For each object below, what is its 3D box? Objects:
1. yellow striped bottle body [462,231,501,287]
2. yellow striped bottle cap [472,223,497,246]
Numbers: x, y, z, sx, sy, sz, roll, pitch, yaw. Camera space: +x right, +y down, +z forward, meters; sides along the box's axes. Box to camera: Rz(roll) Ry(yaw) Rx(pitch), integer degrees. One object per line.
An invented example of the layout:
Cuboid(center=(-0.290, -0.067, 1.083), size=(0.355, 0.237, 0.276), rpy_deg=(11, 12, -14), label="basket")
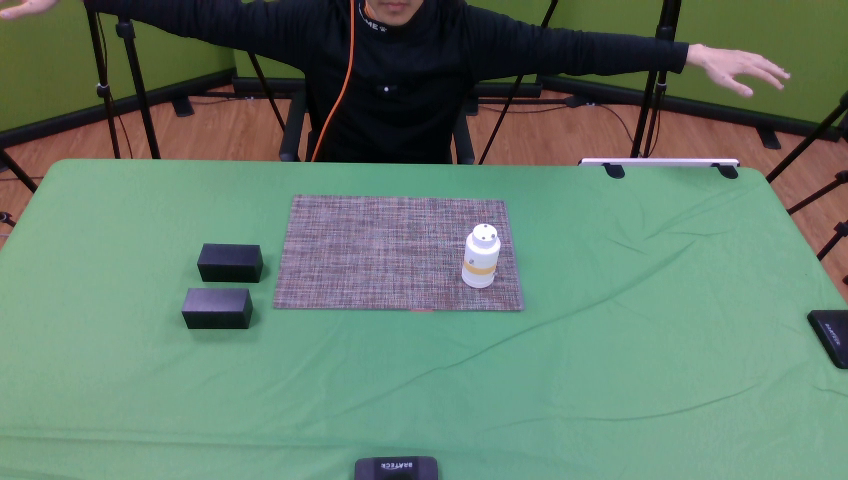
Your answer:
Cuboid(center=(0.105, 0.025, 1.106), size=(0.063, 0.121, 0.062), rpy_deg=(2, 46, -2), label="yellow striped bottle body")
Cuboid(center=(0.107, -0.010, 1.068), size=(0.044, 0.019, 0.044), rpy_deg=(3, 47, -3), label="yellow striped bottle cap")
